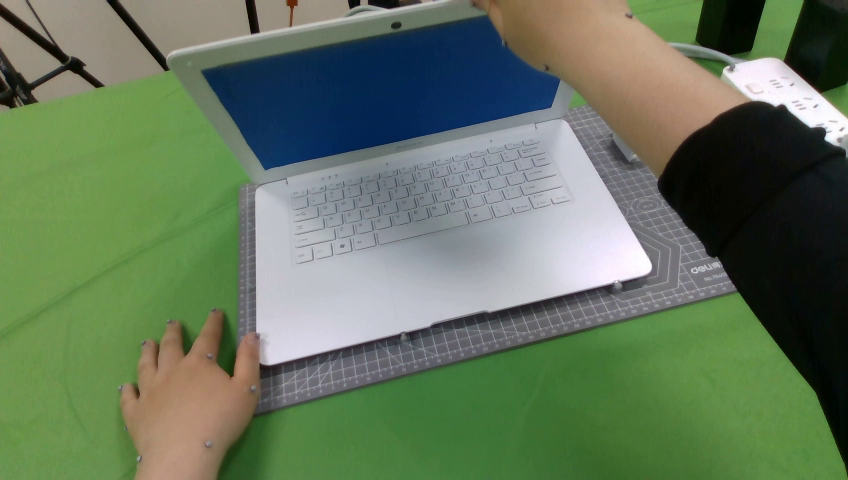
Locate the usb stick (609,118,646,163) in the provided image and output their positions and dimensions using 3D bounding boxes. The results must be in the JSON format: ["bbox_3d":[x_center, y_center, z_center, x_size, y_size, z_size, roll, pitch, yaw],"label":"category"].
[{"bbox_3d":[0.215,-0.111,0.649,0.021,0.027,0.058,-16,45,0],"label":"usb stick"}]

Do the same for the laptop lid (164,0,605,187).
[{"bbox_3d":[-0.022,-0.132,0.564,0.357,0.243,0.013,-14,73,-1],"label":"laptop lid"}]

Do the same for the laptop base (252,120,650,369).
[{"bbox_3d":[0.007,-0.009,0.599,0.354,0.023,0.233,-14,49,-3],"label":"laptop base"}]

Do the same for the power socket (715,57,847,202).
[{"bbox_3d":[0.385,-0.122,0.628,0.072,0.033,0.224,-13,46,-1],"label":"power socket"}]

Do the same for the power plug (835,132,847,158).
[{"bbox_3d":[0.424,-0.090,0.564,0.072,0.053,0.035,-5,48,5],"label":"power plug"}]

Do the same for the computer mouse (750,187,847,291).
[{"bbox_3d":[0.344,-0.008,0.525,0.063,0.041,0.116,-19,42,-5],"label":"computer mouse"}]
